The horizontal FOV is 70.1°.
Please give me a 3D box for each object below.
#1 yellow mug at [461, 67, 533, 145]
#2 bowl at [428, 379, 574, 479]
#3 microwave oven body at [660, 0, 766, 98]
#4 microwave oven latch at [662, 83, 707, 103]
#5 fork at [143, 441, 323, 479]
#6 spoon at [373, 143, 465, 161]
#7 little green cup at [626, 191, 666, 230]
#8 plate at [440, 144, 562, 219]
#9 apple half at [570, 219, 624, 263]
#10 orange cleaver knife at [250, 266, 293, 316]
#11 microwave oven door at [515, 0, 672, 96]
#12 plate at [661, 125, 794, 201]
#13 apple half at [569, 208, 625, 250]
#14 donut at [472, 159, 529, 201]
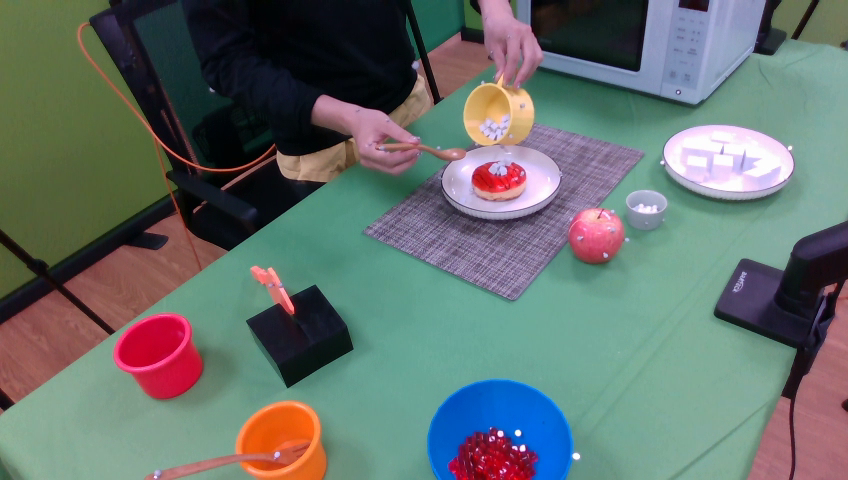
[{"bbox_3d":[0.125,-0.221,0.997,0.099,0.131,0.064,33,27,32],"label":"yellow mug"},{"bbox_3d":[0.082,0.233,0.644,0.151,0.077,0.150,-4,39,4],"label":"bowl"},{"bbox_3d":[0.472,-0.513,1.317,0.438,0.261,0.327,26,51,34],"label":"microwave oven body"},{"bbox_3d":[0.517,-0.296,1.204,0.078,0.029,0.030,27,52,35],"label":"microwave oven latch"},{"bbox_3d":[-0.189,0.231,0.631,0.028,0.018,0.209,35,13,37],"label":"fork"},{"bbox_3d":[-0.006,-0.134,0.897,0.041,0.021,0.195,26,17,37],"label":"spoon"},{"bbox_3d":[0.352,-0.046,0.963,0.061,0.039,0.061,-4,40,4],"label":"little green cup"},{"bbox_3d":[0.134,-0.098,1.051,0.209,0.038,0.208,-4,40,4],"label":"plate"},{"bbox_3d":[0.250,0.009,0.885,0.081,0.081,0.033,7,39,17],"label":"apple half"},{"bbox_3d":[-0.221,0.071,0.873,0.012,0.077,0.210,-25,11,-21],"label":"orange cleaver knife"},{"bbox_3d":[0.343,-0.455,1.259,0.353,0.245,0.039,26,51,33],"label":"microwave oven door"},{"bbox_3d":[0.513,-0.128,1.035,0.207,0.039,0.206,-4,40,4],"label":"plate"},{"bbox_3d":[0.262,-0.014,0.913,0.080,0.075,0.053,5,37,20],"label":"apple half"},{"bbox_3d":[0.132,-0.105,1.043,0.099,0.048,0.098,-4,38,4],"label":"donut"}]
